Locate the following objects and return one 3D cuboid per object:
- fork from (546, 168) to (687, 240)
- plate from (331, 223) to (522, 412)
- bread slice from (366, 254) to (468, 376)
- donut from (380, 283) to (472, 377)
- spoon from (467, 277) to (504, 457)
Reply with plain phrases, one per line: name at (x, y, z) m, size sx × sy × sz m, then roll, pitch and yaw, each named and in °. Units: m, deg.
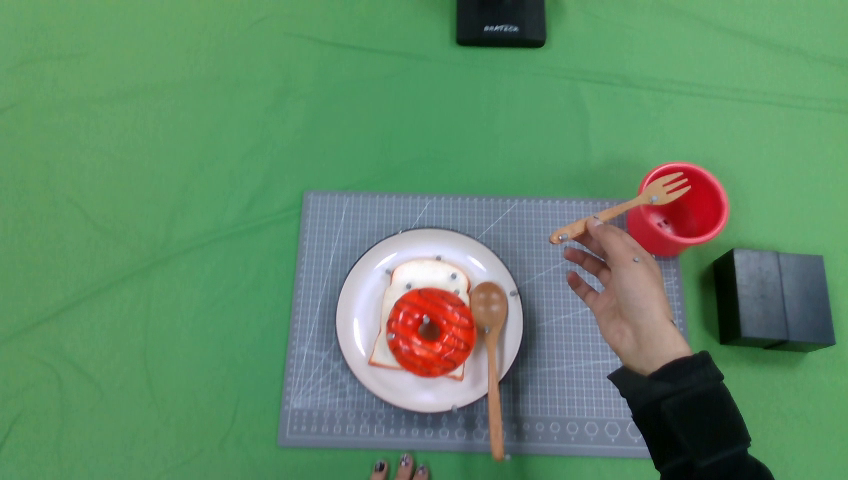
fork at (0.194, -0.036, 0.599) m, size 0.208 × 0.018 × 0.028 m, roll -21°, pitch 86°, yaw -33°
plate at (0.003, 0.084, 0.673) m, size 0.209 × 0.038 × 0.208 m, roll 0°, pitch 72°, yaw -1°
bread slice at (-0.004, 0.079, 0.677) m, size 0.105 × 0.019 × 0.131 m, roll 8°, pitch 73°, yaw 0°
donut at (0.002, 0.094, 0.641) m, size 0.099 × 0.048 × 0.098 m, roll 1°, pitch 76°, yaw -3°
spoon at (0.069, 0.129, 0.644) m, size 0.041 × 0.022 × 0.192 m, roll -1°, pitch 59°, yaw 3°
